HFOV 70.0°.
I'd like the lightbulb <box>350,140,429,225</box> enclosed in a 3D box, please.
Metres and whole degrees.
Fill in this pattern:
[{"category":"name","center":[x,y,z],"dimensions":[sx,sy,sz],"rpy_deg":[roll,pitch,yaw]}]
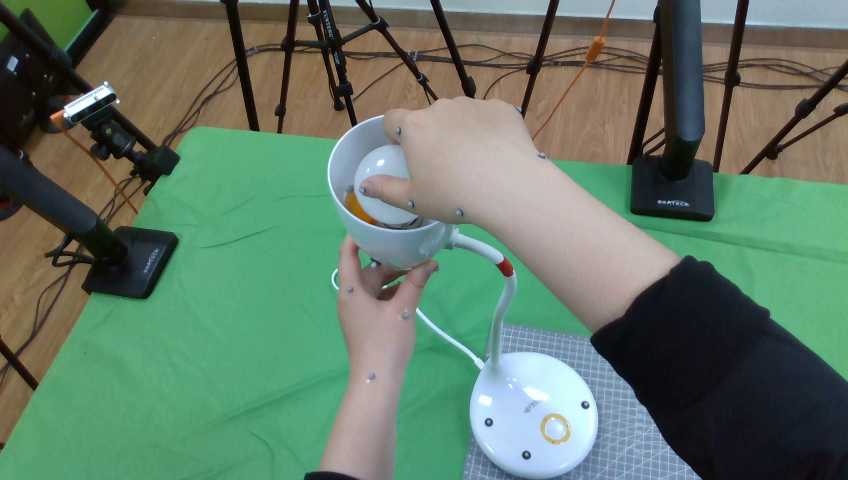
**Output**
[{"category":"lightbulb","center":[-0.025,-0.036,0.480],"dimensions":[0.059,0.108,0.059],"rpy_deg":[0,67,1]}]

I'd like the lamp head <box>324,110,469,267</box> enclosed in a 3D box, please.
[{"category":"lamp head","center":[-0.017,-0.029,0.506],"dimensions":[0.112,0.124,0.111],"rpy_deg":[-2,60,4]}]

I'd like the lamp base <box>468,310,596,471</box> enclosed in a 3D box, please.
[{"category":"lamp base","center":[0.118,0.162,0.711],"dimensions":[0.177,0.182,0.160],"rpy_deg":[31,65,28]}]
